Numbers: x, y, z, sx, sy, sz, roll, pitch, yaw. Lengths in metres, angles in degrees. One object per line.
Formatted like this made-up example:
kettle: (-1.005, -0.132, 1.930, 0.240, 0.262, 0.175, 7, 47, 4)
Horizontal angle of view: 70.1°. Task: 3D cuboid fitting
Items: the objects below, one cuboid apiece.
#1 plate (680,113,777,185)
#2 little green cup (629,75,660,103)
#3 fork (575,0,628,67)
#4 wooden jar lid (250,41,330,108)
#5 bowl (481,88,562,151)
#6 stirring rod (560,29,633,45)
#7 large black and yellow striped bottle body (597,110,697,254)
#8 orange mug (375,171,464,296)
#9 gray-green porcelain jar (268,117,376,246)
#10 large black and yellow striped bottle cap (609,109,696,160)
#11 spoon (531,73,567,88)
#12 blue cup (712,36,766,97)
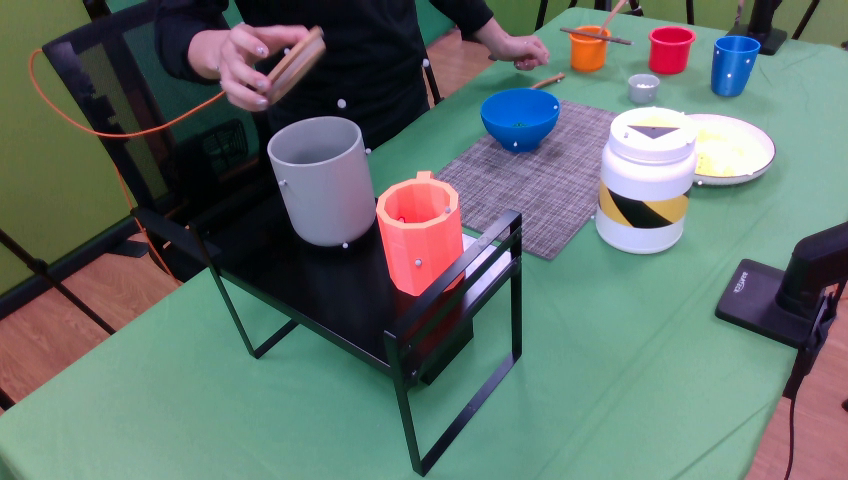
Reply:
plate: (0.506, -0.158, 1.073, 0.209, 0.038, 0.208, -4, 40, 4)
little green cup: (0.457, -0.314, 1.260, 0.061, 0.039, 0.061, -4, 40, 4)
fork: (0.413, -0.481, 1.377, 0.207, 0.019, 0.028, -56, 43, 12)
wooden jar lid: (-0.148, -0.184, 0.682, 0.108, 0.021, 0.108, -35, 14, 11)
bowl: (0.187, -0.223, 1.161, 0.151, 0.077, 0.150, -4, 40, 4)
stirring rod: (0.381, -0.452, 1.345, 0.174, 0.006, 0.014, 25, 49, 33)
large black and yellow striped bottle body: (0.331, -0.086, 0.904, 0.131, 0.185, 0.130, -5, 41, 4)
orange mug: (-0.001, -0.016, 0.662, 0.083, 0.101, 0.125, -2, 45, 8)
gray-green porcelain jar: (-0.115, -0.064, 0.715, 0.106, 0.127, 0.105, -4, 40, 4)
large black and yellow striped bottle cap: (0.319, -0.150, 0.849, 0.115, 0.019, 0.114, -4, 39, 3)
spoon: (0.249, -0.336, 1.332, 0.194, 0.022, 0.041, -32, 34, -25)
blue cup: (0.627, -0.350, 1.227, 0.092, 0.100, 0.092, -4, 39, 4)
